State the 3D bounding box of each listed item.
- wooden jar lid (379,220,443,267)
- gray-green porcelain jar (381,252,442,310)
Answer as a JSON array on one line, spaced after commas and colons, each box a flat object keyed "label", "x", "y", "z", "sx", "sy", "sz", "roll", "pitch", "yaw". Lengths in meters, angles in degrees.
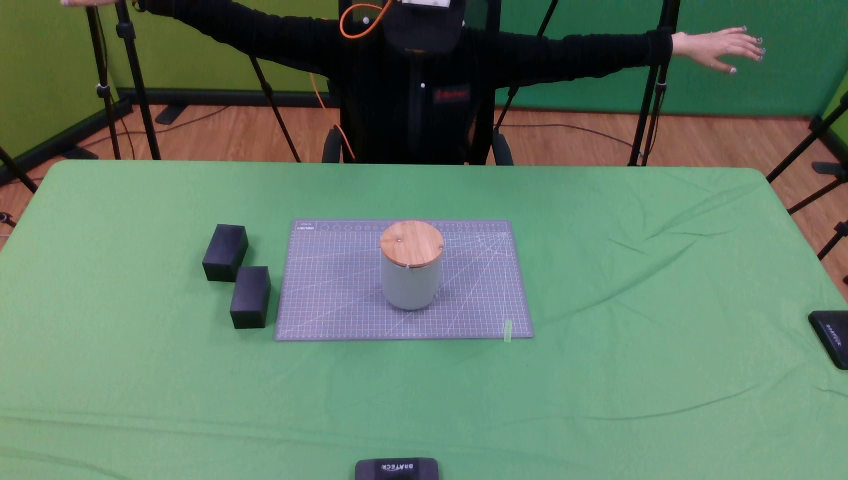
[{"label": "wooden jar lid", "x": -0.021, "y": 0.009, "z": 1.021, "sx": 0.108, "sy": 0.021, "sz": 0.107, "roll": 3, "pitch": 45, "yaw": -2}, {"label": "gray-green porcelain jar", "x": -0.023, "y": 0.053, "z": 1.068, "sx": 0.106, "sy": 0.127, "sz": 0.105, "roll": 2, "pitch": 46, "yaw": -2}]
